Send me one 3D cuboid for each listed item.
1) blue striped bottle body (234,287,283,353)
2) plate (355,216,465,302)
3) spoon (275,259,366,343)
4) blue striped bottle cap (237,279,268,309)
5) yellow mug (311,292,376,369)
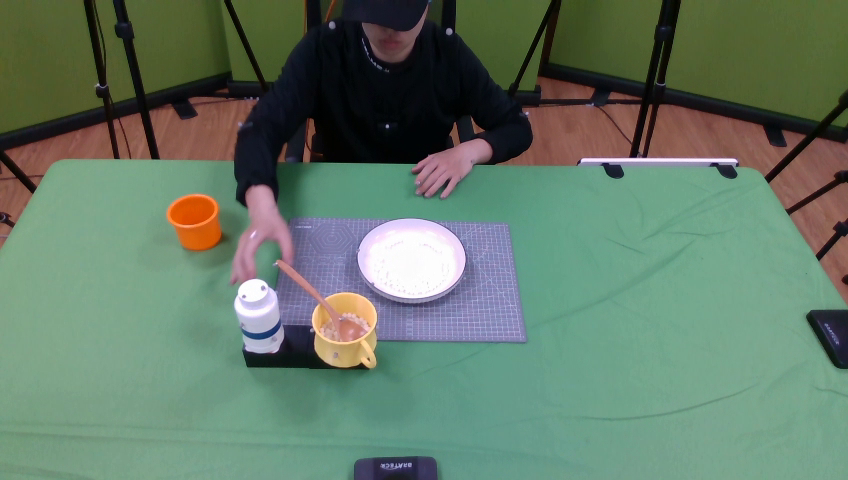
[{"bbox_3d":[-0.254,0.114,0.929,0.063,0.121,0.062,2,46,-2],"label":"blue striped bottle body"},{"bbox_3d":[-0.027,0.039,1.144,0.208,0.039,0.206,2,46,-2],"label":"plate"},{"bbox_3d":[-0.161,0.098,0.946,0.194,0.021,0.041,48,56,-5],"label":"spoon"},{"bbox_3d":[-0.252,0.078,0.892,0.044,0.021,0.044,4,47,-5],"label":"blue striped bottle cap"},{"bbox_3d":[-0.115,0.150,0.945,0.100,0.064,0.130,-30,57,-28],"label":"yellow mug"}]
